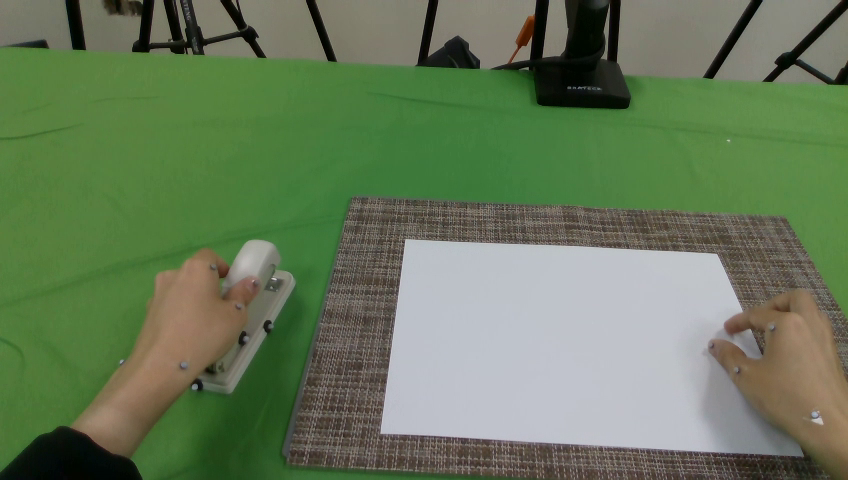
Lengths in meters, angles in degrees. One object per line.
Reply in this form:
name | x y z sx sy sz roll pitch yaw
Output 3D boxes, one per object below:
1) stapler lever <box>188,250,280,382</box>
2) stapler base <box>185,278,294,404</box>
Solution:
stapler lever | -0.148 0.055 0.481 0.027 0.040 0.117 9 42 11
stapler base | -0.149 0.072 0.498 0.041 0.024 0.129 9 43 10
